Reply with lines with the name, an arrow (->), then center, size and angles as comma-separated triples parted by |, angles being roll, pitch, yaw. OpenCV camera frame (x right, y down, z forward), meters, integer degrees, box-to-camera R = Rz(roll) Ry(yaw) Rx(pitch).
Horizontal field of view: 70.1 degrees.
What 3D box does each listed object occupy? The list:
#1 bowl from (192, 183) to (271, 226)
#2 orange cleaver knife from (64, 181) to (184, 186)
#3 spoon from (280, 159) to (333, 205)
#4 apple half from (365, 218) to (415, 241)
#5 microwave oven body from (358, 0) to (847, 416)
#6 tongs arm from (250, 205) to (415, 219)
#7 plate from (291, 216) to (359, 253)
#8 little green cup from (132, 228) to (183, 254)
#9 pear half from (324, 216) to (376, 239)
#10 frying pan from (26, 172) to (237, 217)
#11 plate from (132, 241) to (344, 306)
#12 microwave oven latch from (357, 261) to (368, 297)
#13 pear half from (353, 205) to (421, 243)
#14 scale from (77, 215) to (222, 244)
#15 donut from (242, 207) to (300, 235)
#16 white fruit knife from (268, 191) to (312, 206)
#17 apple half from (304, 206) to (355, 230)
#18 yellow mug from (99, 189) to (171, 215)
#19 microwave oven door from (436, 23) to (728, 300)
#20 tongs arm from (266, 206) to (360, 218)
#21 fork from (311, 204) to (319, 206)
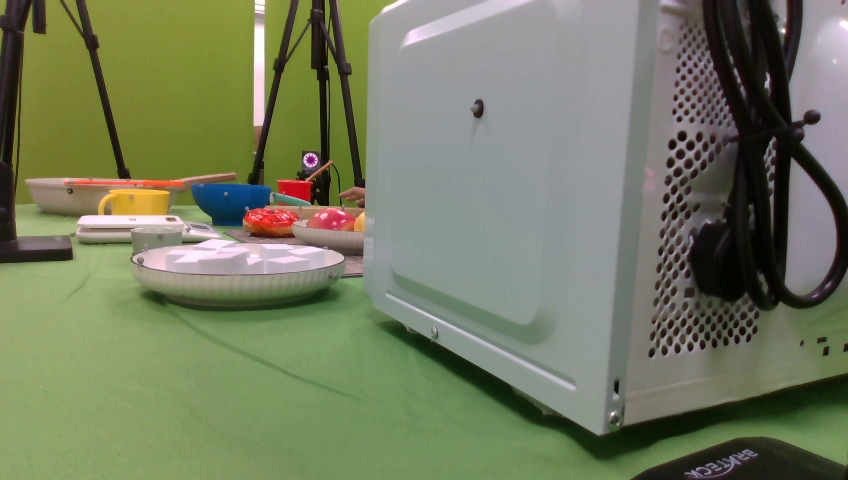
bowl -> -0.382, -0.071, 1.202 | 0.151, 0.077, 0.151 | 3, 7, 0
orange cleaver knife -> -0.595, -0.114, 1.212 | 0.212, 0.012, 0.077 | -3, 7, -41
spoon -> -0.316, -0.159, 1.640 | 0.194, 0.022, 0.041 | -50, 32, -20
apple half -> -0.053, -0.019, 0.966 | 0.081, 0.033, 0.081 | -3, 11, 1
microwave oven body -> 0.211, -0.047, 0.475 | 0.444, 0.260, 0.324 | -1, 7, -28
tongs arm -> -0.212, -0.067, 1.441 | 0.389, 0.027, 0.028 | 0, -1, -17
plate -> -0.103, -0.009, 0.945 | 0.209, 0.038, 0.209 | 2, 8, 0
little green cup -> -0.342, 0.006, 0.779 | 0.061, 0.038, 0.061 | 2, 8, 0
pear half -> -0.119, -0.023, 0.996 | 0.088, 0.031, 0.070 | -4, 23, -29
frying pan -> -0.624, -0.118, 1.387 | 0.305, 0.102, 0.490 | 8, 17, 32
plate -> -0.187, 0.033, 0.625 | 0.208, 0.039, 0.207 | 2, 8, 0
microwave oven latch -> -0.019, 0.033, 0.531 | 0.079, 0.029, 0.030 | -1, 7, -27
pear half -> -0.051, -0.024, 0.905 | 0.110, 0.056, 0.076 | 0, -2, -38
scale -> -0.434, -0.019, 0.963 | 0.202, 0.031, 0.148 | -1, 9, -27
donut -> -0.263, -0.032, 1.039 | 0.099, 0.048, 0.099 | 4, 10, 0
white fruit knife -> -0.364, -0.105, 1.464 | 0.208, 0.027, 0.016 | 15, -1, -34
apple half -> -0.138, -0.025, 0.917 | 0.081, 0.053, 0.074 | 0, 10, -43
yellow mug -> -0.518, -0.055, 1.080 | 0.099, 0.064, 0.131 | 6, 9, 26
microwave oven door -> 0.180, -0.072, 0.621 | 0.358, 0.243, 0.039 | -2, 9, -29
tongs arm -> -0.174, -0.061, 1.364 | 0.387, 0.026, 0.050 | -1, 3, -32
fork -> -0.356, -0.105, 1.526 | 0.208, 0.018, 0.028 | 16, -5, -41
